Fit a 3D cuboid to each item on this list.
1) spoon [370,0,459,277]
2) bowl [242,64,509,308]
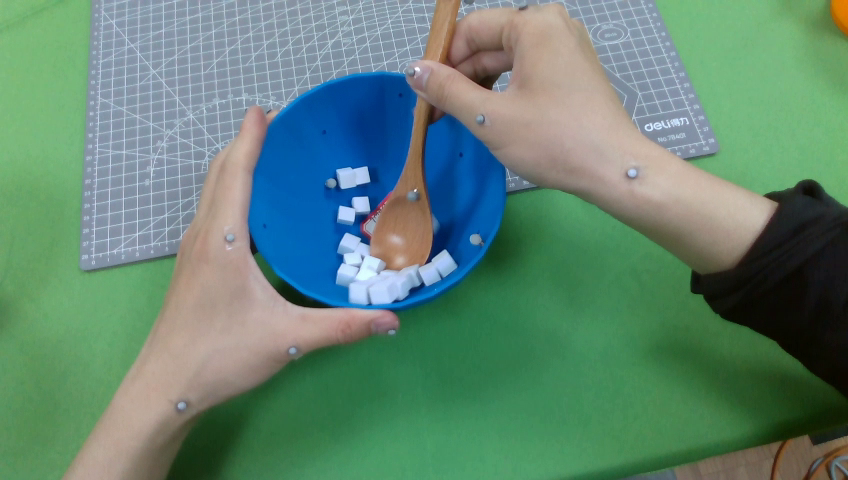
[{"bbox_3d":[0.000,-0.068,0.338,0.041,0.195,0.022,24,26,25],"label":"spoon"},{"bbox_3d":[-0.027,-0.023,0.377,0.151,0.077,0.150,0,70,1],"label":"bowl"}]
